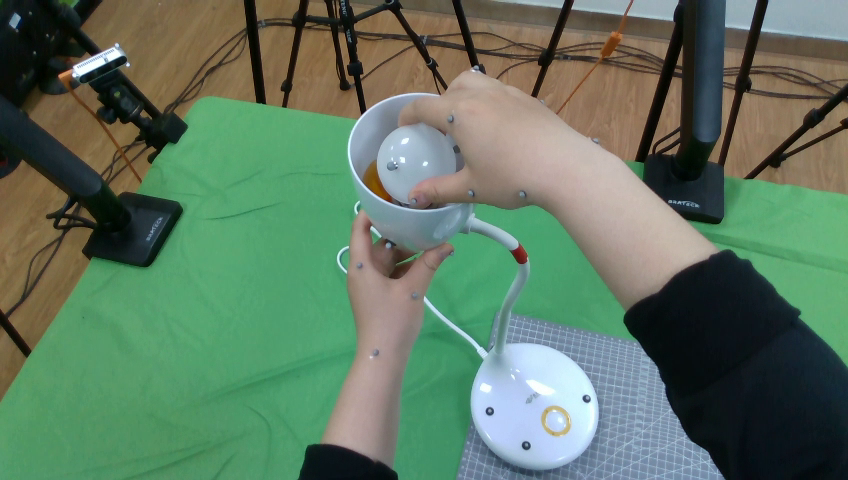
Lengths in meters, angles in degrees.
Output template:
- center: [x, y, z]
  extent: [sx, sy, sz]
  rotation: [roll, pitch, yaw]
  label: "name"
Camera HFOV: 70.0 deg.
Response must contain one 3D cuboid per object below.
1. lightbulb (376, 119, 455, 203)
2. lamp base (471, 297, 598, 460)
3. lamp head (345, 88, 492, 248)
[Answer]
- center: [-0.007, -0.052, 0.478]
  extent: [0.059, 0.108, 0.059]
  rotation: [0, 68, 0]
  label: "lightbulb"
- center: [0.124, 0.148, 0.710]
  extent: [0.177, 0.182, 0.160]
  rotation: [34, 65, 26]
  label: "lamp base"
- center: [-0.002, -0.045, 0.502]
  extent: [0.112, 0.124, 0.111]
  rotation: [-1, 60, 3]
  label: "lamp head"
